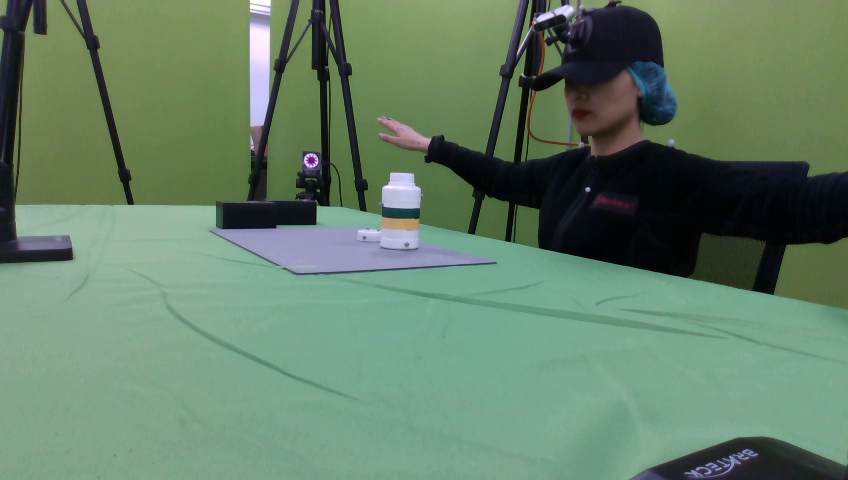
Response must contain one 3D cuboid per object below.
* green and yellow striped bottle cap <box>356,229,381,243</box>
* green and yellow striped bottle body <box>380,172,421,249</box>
[{"bbox_3d":[-0.094,-0.007,1.040,0.045,0.020,0.045,4,6,0],"label":"green and yellow striped bottle cap"},{"bbox_3d":[-0.037,-0.048,0.959,0.063,0.119,0.063,3,7,0],"label":"green and yellow striped bottle body"}]
